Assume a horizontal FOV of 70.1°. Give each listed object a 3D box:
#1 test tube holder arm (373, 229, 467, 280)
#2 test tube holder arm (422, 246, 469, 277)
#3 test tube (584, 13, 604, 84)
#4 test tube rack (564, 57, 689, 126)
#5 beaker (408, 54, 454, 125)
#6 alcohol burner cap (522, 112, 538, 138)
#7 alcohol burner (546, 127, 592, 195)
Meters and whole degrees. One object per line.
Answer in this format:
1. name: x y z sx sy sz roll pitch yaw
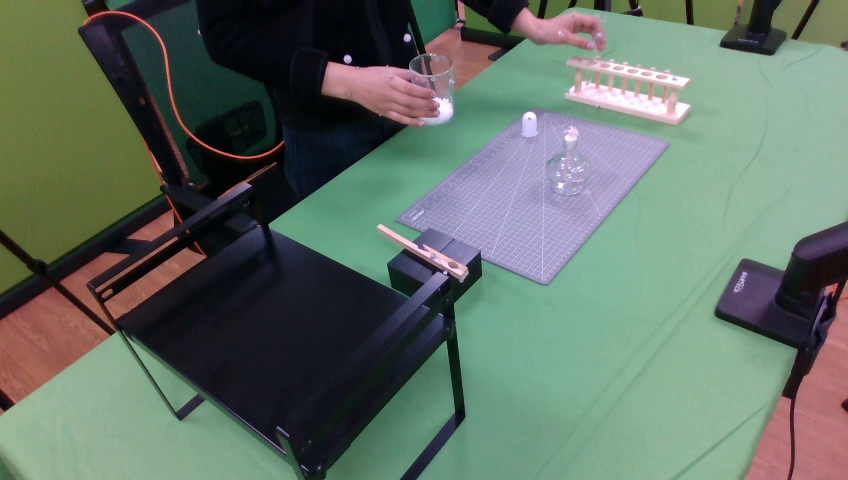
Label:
1. test tube holder arm: -0.010 0.019 0.885 0.177 0.015 0.013 23 47 33
2. test tube holder arm: 0.028 0.031 0.864 0.087 0.015 0.010 25 48 34
3. test tube: 0.338 -0.378 1.205 0.017 0.151 0.017 -1 48 1
4. test tube rack: 0.411 -0.311 1.230 0.240 0.085 0.067 23 49 32
5. beaker: 0.015 -0.255 1.029 0.074 0.100 0.084 8 46 12
6. alcohol burner cap: 0.210 -0.230 1.195 0.034 0.048 0.033 -5 41 5
7. alcohol burner: 0.246 -0.137 1.024 0.078 0.119 0.077 -4 38 4
